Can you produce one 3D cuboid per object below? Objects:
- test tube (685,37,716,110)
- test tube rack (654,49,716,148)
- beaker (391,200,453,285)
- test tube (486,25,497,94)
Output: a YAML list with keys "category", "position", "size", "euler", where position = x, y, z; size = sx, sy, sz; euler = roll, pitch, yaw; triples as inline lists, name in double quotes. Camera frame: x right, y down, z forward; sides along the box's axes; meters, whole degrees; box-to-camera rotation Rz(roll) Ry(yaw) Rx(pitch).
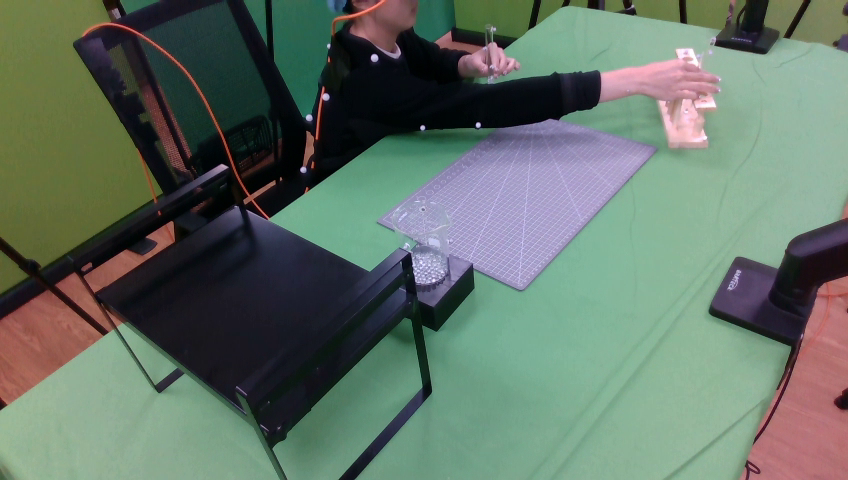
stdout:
- category: "test tube"
  position: [0.513, -0.306, 1.126]
  size: [0.017, 0.151, 0.017]
  euler: [-1, 48, 2]
- category: "test tube rack"
  position: [0.502, -0.280, 1.176]
  size: [0.066, 0.085, 0.241]
  euler: [2, 41, 11]
- category: "beaker"
  position: [0.002, 0.006, 0.831]
  size: [0.084, 0.101, 0.074]
  euler: [5, 42, 13]
- category: "test tube"
  position: [0.137, -0.362, 1.222]
  size: [0.017, 0.151, 0.017]
  euler: [-5, 46, 5]
